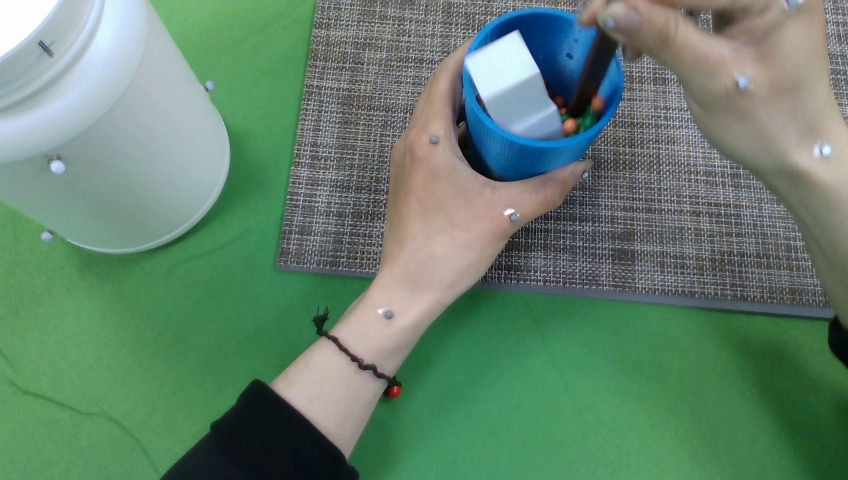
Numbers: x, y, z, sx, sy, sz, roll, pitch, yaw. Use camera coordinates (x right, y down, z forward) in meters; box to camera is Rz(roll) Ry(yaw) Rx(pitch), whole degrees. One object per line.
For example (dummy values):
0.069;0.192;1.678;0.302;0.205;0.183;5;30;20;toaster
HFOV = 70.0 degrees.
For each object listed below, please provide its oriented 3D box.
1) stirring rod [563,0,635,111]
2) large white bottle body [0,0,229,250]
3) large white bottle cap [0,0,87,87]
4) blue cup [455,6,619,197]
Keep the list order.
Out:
0.086;-0.096;0.289;0.014;0.177;0.006;-19;73;-5;stirring rod
-0.194;-0.080;0.322;0.130;0.185;0.130;0;72;0;large white bottle body
-0.194;-0.107;0.242;0.115;0.018;0.114;0;72;-1;large white bottle cap
0.060;-0.071;0.363;0.092;0.101;0.092;0;73;2;blue cup
